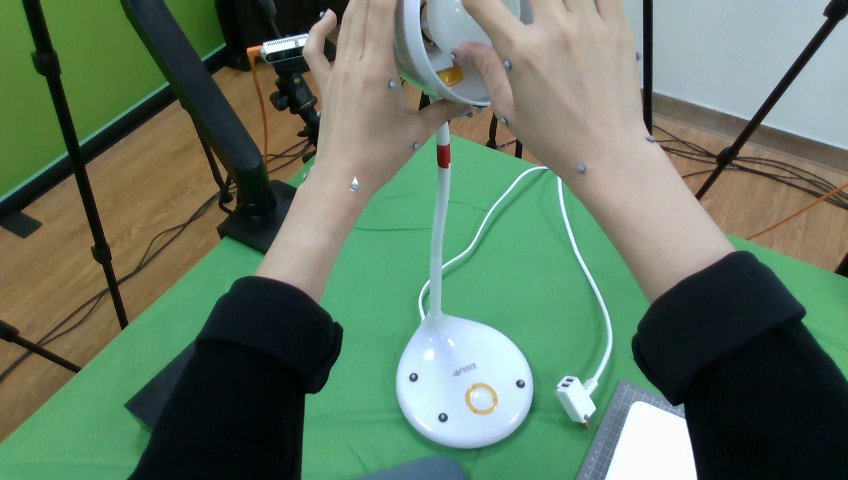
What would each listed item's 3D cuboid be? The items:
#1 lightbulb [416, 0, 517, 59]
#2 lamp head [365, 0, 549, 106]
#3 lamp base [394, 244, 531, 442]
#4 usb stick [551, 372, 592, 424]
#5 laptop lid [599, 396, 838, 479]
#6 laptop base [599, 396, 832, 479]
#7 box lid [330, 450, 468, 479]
[{"bbox_3d":[0.020,-0.153,0.411,0.059,0.060,0.107,-24,22,-19],"label":"lightbulb"},{"bbox_3d":[0.012,-0.155,0.440,0.112,0.113,0.122,-31,23,-23],"label":"lamp head"},{"bbox_3d":[0.035,0.101,0.657,0.161,0.182,0.177,-30,51,-23],"label":"lamp base"},{"bbox_3d":[0.168,0.178,0.676,0.027,0.059,0.021,-36,14,-31],"label":"usb stick"},{"bbox_3d":[0.330,0.311,0.561,0.354,0.013,0.240,23,55,20],"label":"laptop lid"},{"bbox_3d":[0.331,0.317,0.571,0.352,0.023,0.234,21,56,18],"label":"laptop base"},{"bbox_3d":[-0.042,0.382,0.527,0.264,0.015,0.367,-13,51,-10],"label":"box lid"}]
